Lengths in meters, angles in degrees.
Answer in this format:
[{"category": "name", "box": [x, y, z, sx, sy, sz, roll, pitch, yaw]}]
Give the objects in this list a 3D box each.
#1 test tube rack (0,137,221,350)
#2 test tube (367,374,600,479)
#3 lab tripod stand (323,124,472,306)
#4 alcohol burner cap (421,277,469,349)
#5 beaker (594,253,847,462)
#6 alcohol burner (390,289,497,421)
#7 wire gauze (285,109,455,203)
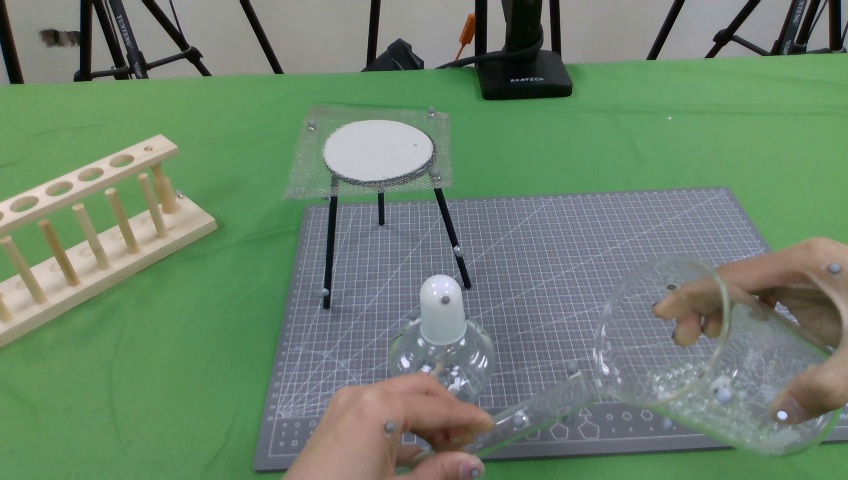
[{"category": "test tube rack", "box": [-0.315, 0.002, 0.543, 0.066, 0.086, 0.242, 32, 51, 33]}, {"category": "test tube", "box": [0.025, 0.110, 0.322, 0.150, 0.017, 0.017, -33, 35, 21]}, {"category": "lab tripod stand", "box": [-0.027, -0.021, 0.518, 0.148, 0.132, 0.147, 0, 40, 0]}, {"category": "alcohol burner cap", "box": [0.014, 0.045, 0.400, 0.034, 0.048, 0.033, -3, 40, 3]}, {"category": "beaker", "box": [0.145, 0.063, 0.297, 0.101, 0.084, 0.073, 27, 26, -22]}, {"category": "alcohol burner", "box": [0.014, 0.073, 0.424, 0.078, 0.120, 0.077, -1, 43, 1]}, {"category": "wire gauze", "box": [-0.038, -0.070, 0.472, 0.121, 0.011, 0.124, 0, 42, 1]}]
